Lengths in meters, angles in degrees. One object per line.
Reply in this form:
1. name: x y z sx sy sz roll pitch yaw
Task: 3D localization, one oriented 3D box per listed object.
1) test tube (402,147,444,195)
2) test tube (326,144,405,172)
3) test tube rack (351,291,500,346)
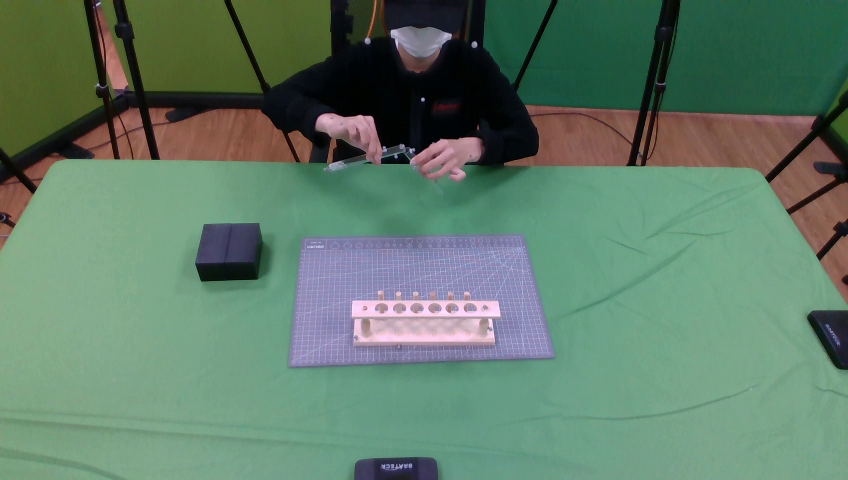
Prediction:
1. test tube: 0.000 -0.132 1.185 0.017 0.151 0.017 -16 53 23
2. test tube: -0.108 -0.152 1.121 0.150 0.017 0.017 -16 49 -6
3. test tube rack: 0.000 0.129 1.026 0.242 0.085 0.066 1 46 -4
